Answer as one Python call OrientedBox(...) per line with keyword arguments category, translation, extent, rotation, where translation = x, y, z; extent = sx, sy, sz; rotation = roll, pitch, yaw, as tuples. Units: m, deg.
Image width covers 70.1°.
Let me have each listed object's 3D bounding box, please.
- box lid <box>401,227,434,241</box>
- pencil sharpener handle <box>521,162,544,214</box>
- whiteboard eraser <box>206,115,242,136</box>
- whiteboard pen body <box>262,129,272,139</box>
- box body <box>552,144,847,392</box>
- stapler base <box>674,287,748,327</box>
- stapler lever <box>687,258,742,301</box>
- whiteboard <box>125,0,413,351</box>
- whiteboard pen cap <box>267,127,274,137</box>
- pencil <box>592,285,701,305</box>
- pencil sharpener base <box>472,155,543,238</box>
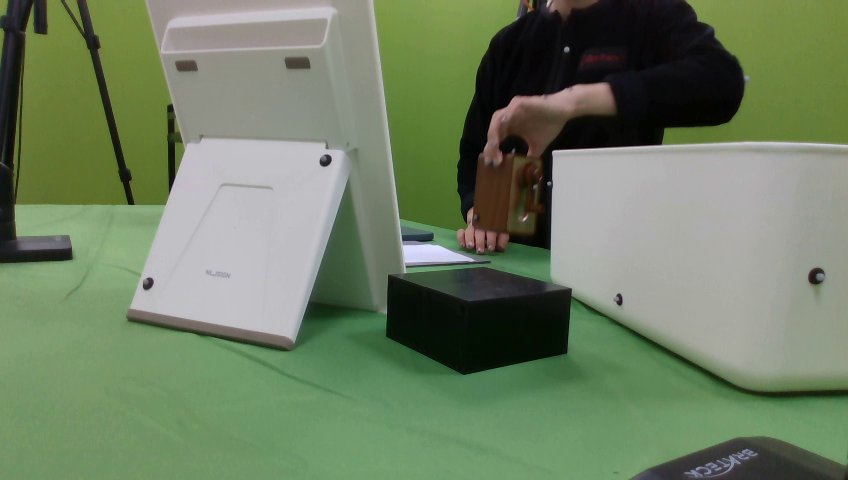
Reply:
OrientedBox(category="box lid", translation=(-0.196, -0.015, 1.105), extent=(0.373, 0.015, 0.262), rotation=(-1, 7, -32))
OrientedBox(category="pencil sharpener handle", translation=(0.147, -0.067, 0.785), extent=(0.036, 0.067, 0.030), rotation=(9, 1, -39))
OrientedBox(category="whiteboard eraser", translation=(-0.438, -0.249, 1.320), extent=(0.056, 0.042, 0.112), rotation=(-3, 9, -30))
OrientedBox(category="whiteboard pen body", translation=(-0.361, -0.245, 1.393), extent=(0.017, 0.017, 0.140), rotation=(0, 5, -20))
OrientedBox(category="box body", translation=(0.290, 0.002, 0.549), extent=(0.255, 0.160, 0.363), rotation=(2, 7, -10))
OrientedBox(category="stapler base", translation=(0.281, 0.061, 0.586), extent=(0.041, 0.024, 0.131), rotation=(10, 8, 37))
OrientedBox(category="stapler lever", translation=(0.283, 0.035, 0.585), extent=(0.026, 0.040, 0.119), rotation=(11, 8, 37))
OrientedBox(category="whiteboard", translation=(-0.151, -0.050, 0.471), extent=(0.216, 0.305, 0.144), rotation=(6, 27, 24))
OrientedBox(category="whiteboard pen cap", translation=(-0.340, -0.239, 1.337), extent=(0.018, 0.018, 0.033), rotation=(1, -1, -14))
OrientedBox(category="pencil", translation=(0.248, 0.058, 0.656), extent=(0.195, 0.012, 0.012), rotation=(-2, 9, -36))
OrientedBox(category="pencil sharpener base", translation=(0.115, -0.060, 0.826), extent=(0.062, 0.107, 0.076), rotation=(3, 4, -38))
